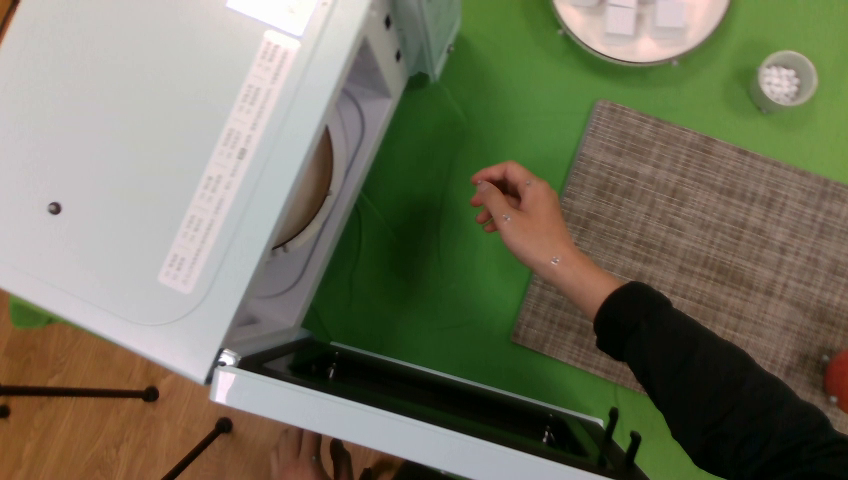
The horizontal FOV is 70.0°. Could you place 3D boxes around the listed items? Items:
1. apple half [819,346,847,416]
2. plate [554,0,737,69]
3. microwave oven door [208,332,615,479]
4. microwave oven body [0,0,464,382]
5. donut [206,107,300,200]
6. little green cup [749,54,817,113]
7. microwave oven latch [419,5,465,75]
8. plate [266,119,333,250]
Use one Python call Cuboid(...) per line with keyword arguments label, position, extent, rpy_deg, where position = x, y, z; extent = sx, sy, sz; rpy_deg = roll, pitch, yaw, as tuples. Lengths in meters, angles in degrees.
Cuboid(label="apple half", position=(0.454, 0.141, 0.640), extent=(0.053, 0.075, 0.081), rpy_deg=(41, 94, 9))
Cuboid(label="plate", position=(0.251, -0.295, 0.698), extent=(0.207, 0.039, 0.207), rpy_deg=(0, 87, 4))
Cuboid(label="microwave oven door", position=(0.013, 0.161, 0.567), extent=(0.355, 0.244, 0.039), rpy_deg=(15, 87, 5))
Cuboid(label="microwave oven body", position=(-0.194, -0.136, 0.601), extent=(0.325, 0.260, 0.441), rpy_deg=(24, 89, 4))
Cuboid(label="donut", position=(-0.179, -0.091, 0.639), extent=(0.099, 0.048, 0.099), rpy_deg=(0, 89, 4))
Cuboid(label="little green cup", position=(0.401, -0.173, 0.682), extent=(0.061, 0.039, 0.061), rpy_deg=(0, 86, 4))
Cuboid(label="microwave oven latch", position=(0.020, -0.231, 0.689), extent=(0.030, 0.029, 0.079), rpy_deg=(27, 89, 4))
Cuboid(label="plate", position=(-0.199, -0.087, 0.649), extent=(0.209, 0.038, 0.209), rpy_deg=(0, 88, 2))
